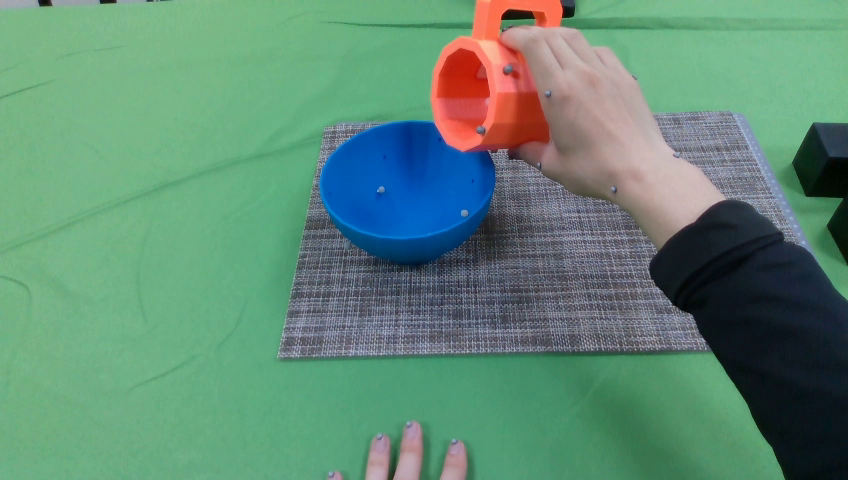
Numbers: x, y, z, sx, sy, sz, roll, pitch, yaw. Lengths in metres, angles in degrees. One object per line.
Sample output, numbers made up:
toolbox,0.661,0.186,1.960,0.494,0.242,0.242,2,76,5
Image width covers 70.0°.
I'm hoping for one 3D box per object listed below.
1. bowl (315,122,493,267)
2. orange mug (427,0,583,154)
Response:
bowl,-0.015,-0.029,0.538,0.151,0.077,0.150,-2,48,3
orange mug,0.066,-0.134,0.489,0.101,0.127,0.082,-15,30,-30
